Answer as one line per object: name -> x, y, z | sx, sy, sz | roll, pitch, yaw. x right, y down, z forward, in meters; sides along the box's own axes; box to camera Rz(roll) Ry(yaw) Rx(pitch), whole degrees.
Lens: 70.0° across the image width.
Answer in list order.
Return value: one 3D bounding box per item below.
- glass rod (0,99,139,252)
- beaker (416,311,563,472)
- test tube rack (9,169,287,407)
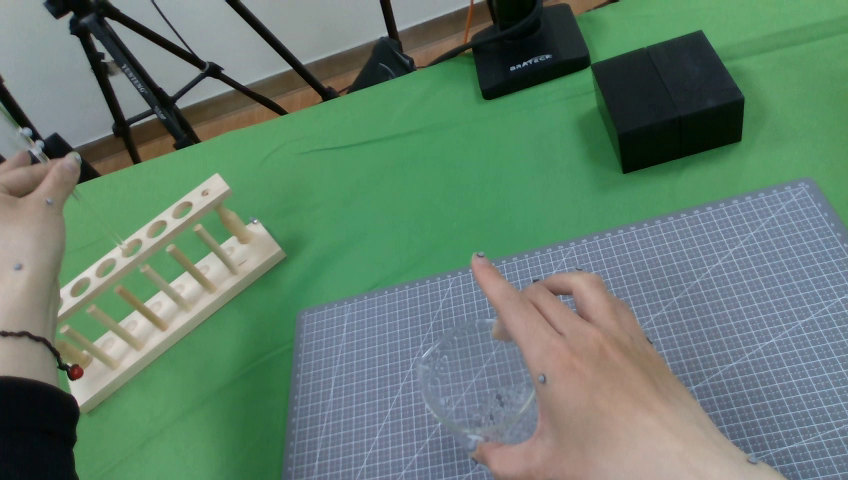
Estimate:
glass rod -> -0.293, -0.045, 0.512 | 0.008, 0.202, 0.008 | -7, 51, 9
beaker -> 0.047, 0.103, 0.397 | 0.083, 0.101, 0.073 | 5, 56, 27
test tube rack -> -0.264, 0.046, 0.594 | 0.242, 0.086, 0.066 | -39, 49, -9
